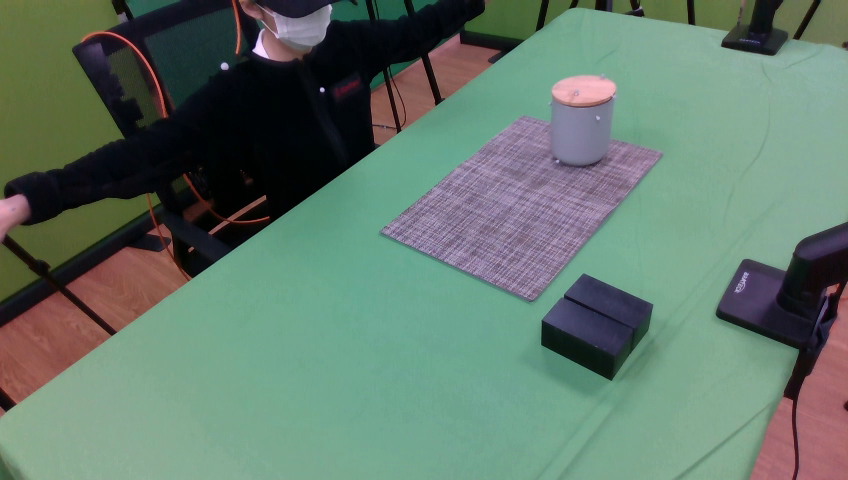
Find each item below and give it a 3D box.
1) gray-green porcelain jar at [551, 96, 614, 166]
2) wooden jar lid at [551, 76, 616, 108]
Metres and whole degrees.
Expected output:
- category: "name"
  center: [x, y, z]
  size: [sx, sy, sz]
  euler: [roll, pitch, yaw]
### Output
- category: "gray-green porcelain jar"
  center: [0.282, -0.206, 1.087]
  size: [0.106, 0.127, 0.105]
  euler: [-5, 40, 4]
- category: "wooden jar lid"
  center: [0.275, -0.253, 1.047]
  size: [0.108, 0.021, 0.108]
  euler: [-5, 38, 4]
